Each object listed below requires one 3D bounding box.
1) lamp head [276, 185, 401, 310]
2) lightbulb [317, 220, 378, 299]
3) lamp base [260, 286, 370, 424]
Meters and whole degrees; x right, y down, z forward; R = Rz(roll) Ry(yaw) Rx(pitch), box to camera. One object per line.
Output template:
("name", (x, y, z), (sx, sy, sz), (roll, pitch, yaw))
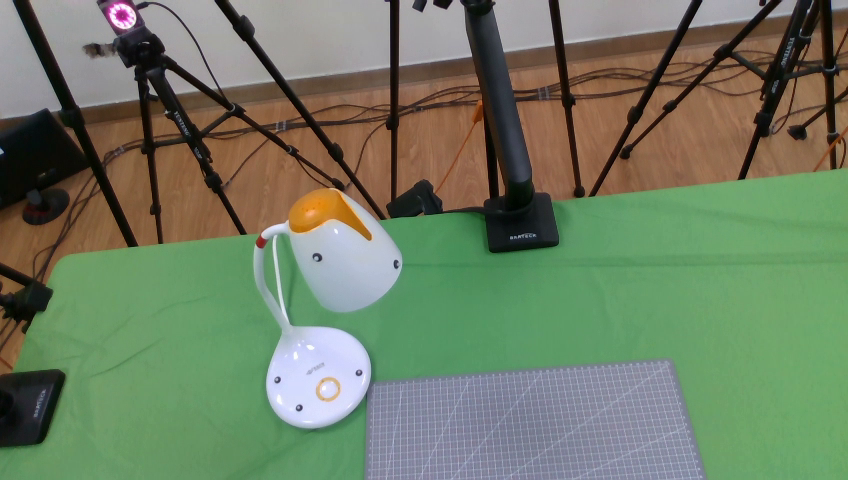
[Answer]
("lamp head", (-0.101, 0.000, 0.669), (0.112, 0.124, 0.111), (-20, 40, 18))
("lightbulb", (-0.090, 0.021, 0.679), (0.059, 0.109, 0.059), (-13, 40, 11))
("lamp base", (-0.180, 0.152, 0.868), (0.160, 0.182, 0.177), (-39, 55, -19))
